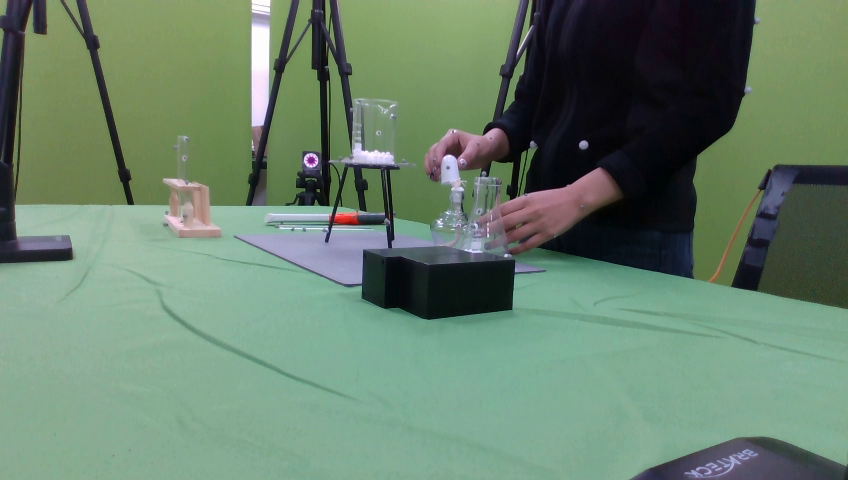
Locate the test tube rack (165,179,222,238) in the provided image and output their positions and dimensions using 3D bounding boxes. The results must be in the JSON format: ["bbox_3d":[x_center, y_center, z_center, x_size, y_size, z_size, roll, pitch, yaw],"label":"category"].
[{"bbox_3d":[-0.423,-0.062,1.098,0.067,0.085,0.241,-2,9,-28],"label":"test tube rack"}]

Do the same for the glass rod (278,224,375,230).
[{"bbox_3d":[-0.186,-0.024,1.178,0.201,0.008,0.008,1,6,-31],"label":"glass rod"}]

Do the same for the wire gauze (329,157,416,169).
[{"bbox_3d":[-0.079,-0.125,0.972,0.121,0.011,0.125,6,6,5],"label":"wire gauze"}]

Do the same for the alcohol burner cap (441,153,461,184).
[{"bbox_3d":[0.040,-0.113,0.946,0.034,0.048,0.034,-6,-5,0],"label":"alcohol burner cap"}]

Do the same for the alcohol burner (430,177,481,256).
[{"bbox_3d":[0.049,-0.036,0.913,0.078,0.119,0.078,4,9,0],"label":"alcohol burner"}]

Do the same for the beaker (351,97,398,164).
[{"bbox_3d":[-0.078,-0.172,0.962,0.074,0.100,0.084,6,8,18],"label":"beaker"}]

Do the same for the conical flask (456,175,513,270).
[{"bbox_3d":[0.083,-0.025,0.801,0.075,0.122,0.075,2,7,0],"label":"conical flask"}]

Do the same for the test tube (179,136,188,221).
[{"bbox_3d":[-0.425,-0.108,1.070,0.017,0.150,0.017,4,9,0],"label":"test tube"}]

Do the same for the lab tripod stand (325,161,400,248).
[{"bbox_3d":[-0.083,-0.059,0.977,0.148,0.131,0.148,4,8,0],"label":"lab tripod stand"}]

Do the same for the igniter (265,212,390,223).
[{"bbox_3d":[-0.196,-0.048,1.286,0.278,0.025,0.057,-2,-2,-30],"label":"igniter"}]
